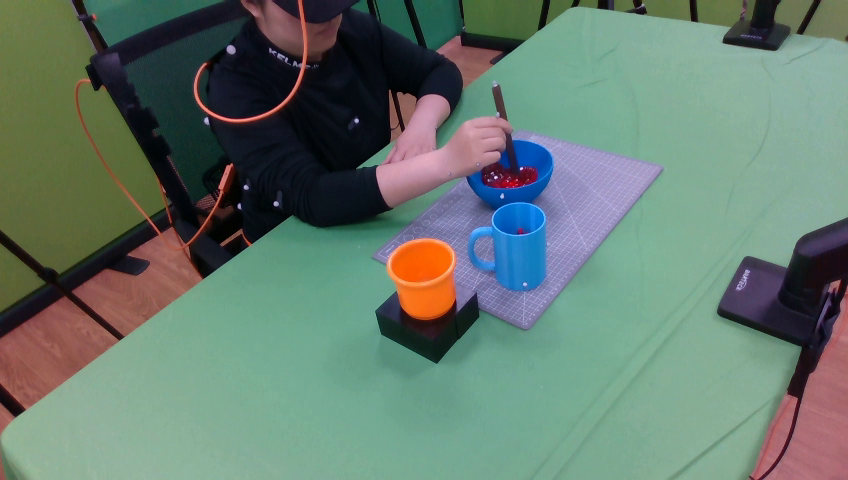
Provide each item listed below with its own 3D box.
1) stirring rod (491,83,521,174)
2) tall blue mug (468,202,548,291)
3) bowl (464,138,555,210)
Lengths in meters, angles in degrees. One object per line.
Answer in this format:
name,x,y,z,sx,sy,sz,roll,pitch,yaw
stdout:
stirring rod,0.133,-0.175,0.969,0.014,0.177,0.005,-33,43,-10
tall blue mug,0.125,0.015,0.869,0.107,0.108,0.077,-21,42,-14
bowl,0.145,-0.100,1.025,0.151,0.077,0.150,-5,40,5
